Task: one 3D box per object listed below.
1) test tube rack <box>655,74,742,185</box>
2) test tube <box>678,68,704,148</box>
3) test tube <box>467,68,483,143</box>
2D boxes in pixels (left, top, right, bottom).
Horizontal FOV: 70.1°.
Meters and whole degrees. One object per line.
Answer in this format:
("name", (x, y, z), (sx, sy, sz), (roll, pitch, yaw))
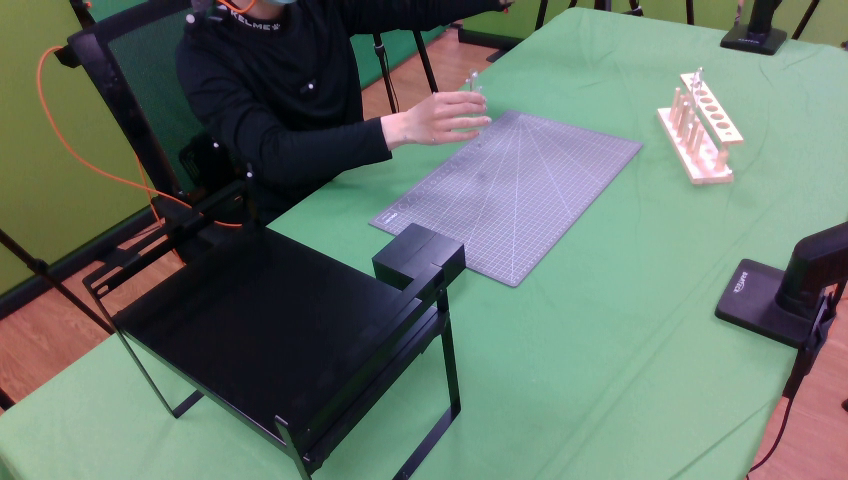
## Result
("test tube rack", (0.488, -0.205, 1.093), (0.067, 0.085, 0.241), (-3, 41, 5))
("test tube", (0.465, -0.228, 1.054), (0.017, 0.151, 0.017), (-4, 41, 4))
("test tube", (0.091, -0.231, 1.054), (0.017, 0.151, 0.017), (-6, 46, 6))
